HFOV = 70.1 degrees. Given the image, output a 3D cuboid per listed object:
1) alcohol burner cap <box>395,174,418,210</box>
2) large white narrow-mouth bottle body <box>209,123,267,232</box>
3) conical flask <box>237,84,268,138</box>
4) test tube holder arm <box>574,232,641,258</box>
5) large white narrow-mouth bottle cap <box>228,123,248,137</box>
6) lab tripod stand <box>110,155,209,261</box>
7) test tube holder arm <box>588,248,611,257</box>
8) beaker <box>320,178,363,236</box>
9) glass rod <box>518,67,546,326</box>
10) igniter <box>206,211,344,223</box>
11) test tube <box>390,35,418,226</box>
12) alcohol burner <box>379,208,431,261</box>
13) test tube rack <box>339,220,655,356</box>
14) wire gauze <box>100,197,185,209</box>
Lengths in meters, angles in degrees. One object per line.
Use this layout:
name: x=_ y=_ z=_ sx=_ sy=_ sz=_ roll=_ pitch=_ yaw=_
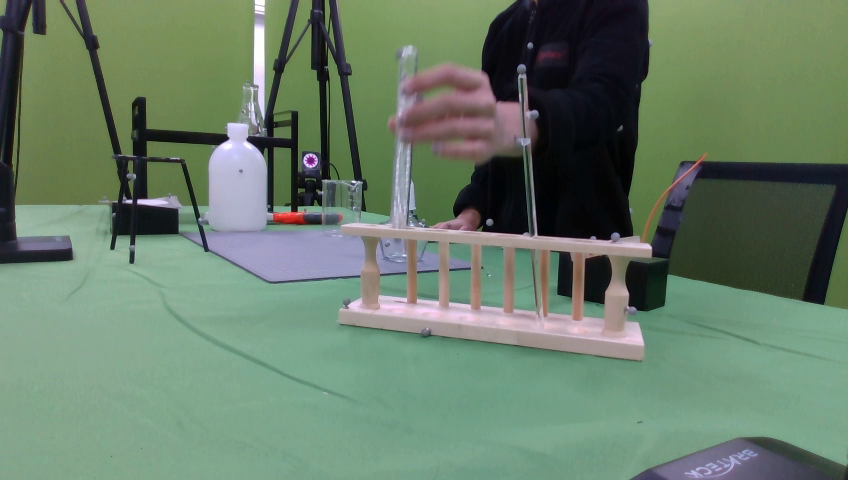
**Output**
alcohol burner cap: x=-0.026 y=-0.067 z=0.833 sx=0.034 sy=0.048 sz=0.034 roll=-2 pitch=12 yaw=1
large white narrow-mouth bottle body: x=-0.340 y=-0.115 z=1.109 sx=0.102 sy=0.194 sz=0.102 roll=2 pitch=8 yaw=0
conical flask: x=-0.402 y=-0.299 z=1.406 sx=0.075 sy=0.122 sz=0.075 roll=2 pitch=7 yaw=0
test tube holder arm: x=0.202 y=0.003 z=0.651 sx=0.013 sy=0.015 sz=0.179 roll=-3 pitch=2 yaw=36
large white narrow-mouth bottle cap: x=-0.338 y=-0.199 z=1.097 sx=0.038 sy=0.024 sz=0.037 roll=2 pitch=8 yaw=0
lab tripod stand: x=-0.362 y=-0.046 z=0.806 sx=0.148 sy=0.131 sz=0.148 roll=2 pitch=5 yaw=0
test tube holder arm: x=0.180 y=0.006 z=0.611 sx=0.010 sy=0.015 sz=0.088 roll=-3 pitch=2 yaw=36
beaker: x=-0.145 y=-0.059 z=1.079 sx=0.074 sy=0.100 sz=0.083 roll=-4 pitch=10 yaw=-36
glass rod: x=0.083 y=-0.028 z=0.458 sx=0.008 sy=0.199 sz=0.008 roll=-6 pitch=10 yaw=1
igniter: x=-0.302 y=-0.048 z=1.249 sx=0.278 sy=0.025 sz=0.057 roll=-2 pitch=-2 yaw=-26
test tube: x=-0.016 y=-0.086 z=0.483 sx=0.017 sy=0.150 sz=0.017 roll=3 pitch=6 yaw=0
alcohol burner: x=-0.027 y=-0.031 z=0.837 sx=0.078 sy=0.119 sz=0.078 roll=0 pitch=6 yaw=0
test tube rack: x=0.055 y=0.032 z=0.495 sx=0.242 sy=0.085 sz=0.067 roll=4 pitch=8 yaw=15
wire gauze: x=-0.469 y=-0.062 z=1.008 sx=0.126 sy=0.011 sz=0.121 roll=-2 pitch=8 yaw=-25
